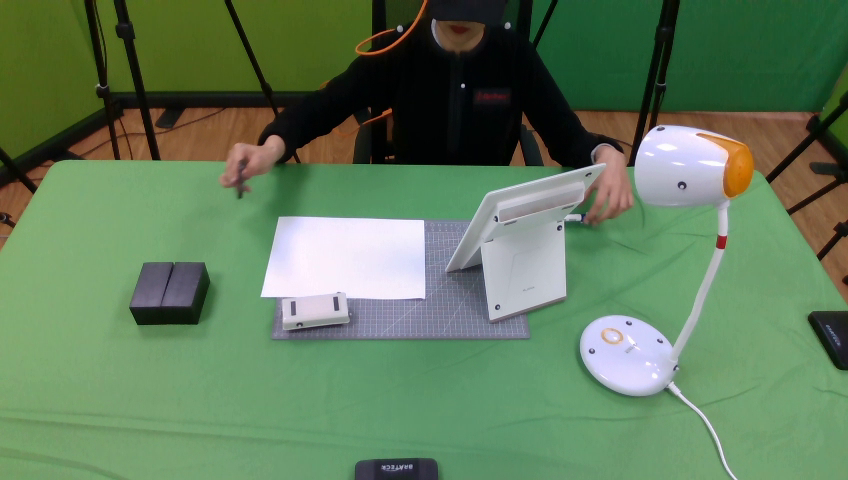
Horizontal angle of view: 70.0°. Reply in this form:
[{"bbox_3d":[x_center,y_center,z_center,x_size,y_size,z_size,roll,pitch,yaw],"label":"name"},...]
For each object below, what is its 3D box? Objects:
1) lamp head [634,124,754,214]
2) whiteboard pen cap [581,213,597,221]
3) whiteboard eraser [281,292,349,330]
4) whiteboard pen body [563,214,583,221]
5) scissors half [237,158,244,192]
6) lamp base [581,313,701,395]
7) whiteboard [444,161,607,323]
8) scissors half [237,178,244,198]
[{"bbox_3d":[0.351,-0.089,0.776,0.112,0.113,0.122,-30,30,-28],"label":"lamp head"},{"bbox_3d":[0.342,-0.048,1.260,0.033,0.018,0.018,-2,46,-3],"label":"whiteboard pen cap"},{"bbox_3d":[-0.189,0.124,1.045,0.113,0.042,0.055,-6,46,-10],"label":"whiteboard eraser"},{"bbox_3d":[0.283,-0.047,1.257,0.141,0.017,0.017,-1,46,-2],"label":"whiteboard pen body"},{"bbox_3d":[-0.326,-0.112,1.079,0.013,0.040,0.174,5,22,-18],"label":"scissors half"},{"bbox_3d":[0.361,0.144,0.973,0.178,0.181,0.160,34,53,23],"label":"lamp base"},{"bbox_3d":[0.186,0.025,1.029,0.217,0.306,0.143,-14,68,-18],"label":"whiteboard"},{"bbox_3d":[-0.328,-0.093,1.085,0.013,0.040,0.174,0,7,-17],"label":"scissors half"}]
